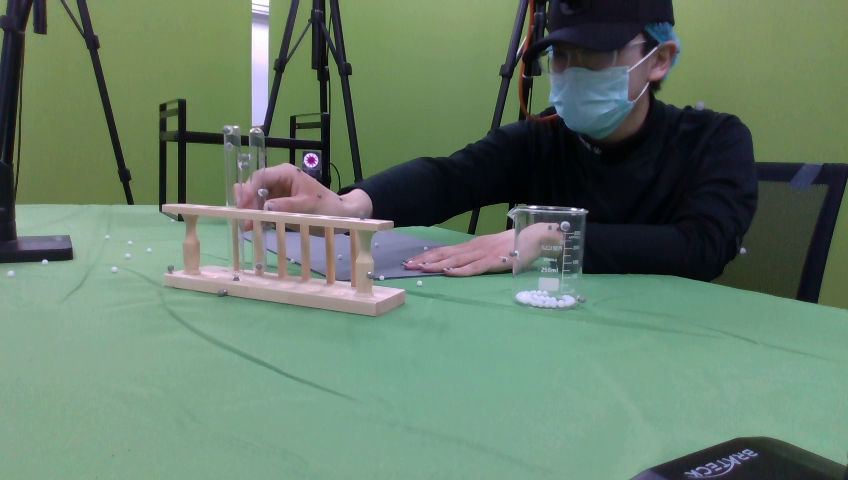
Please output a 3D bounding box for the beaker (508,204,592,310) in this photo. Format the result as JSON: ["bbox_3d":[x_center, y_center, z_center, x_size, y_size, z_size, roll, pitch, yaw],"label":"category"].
[{"bbox_3d":[0.125,0.016,0.613,0.084,0.100,0.074,1,7,-5],"label":"beaker"}]

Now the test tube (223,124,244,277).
[{"bbox_3d":[-0.186,-0.037,0.591,0.017,0.150,0.017,1,11,0],"label":"test tube"}]

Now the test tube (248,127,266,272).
[{"bbox_3d":[-0.172,-0.041,0.626,0.017,0.150,0.017,1,7,0],"label":"test tube"}]

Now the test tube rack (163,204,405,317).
[{"bbox_3d":[-0.141,0.013,0.600,0.241,0.085,0.067,5,8,21],"label":"test tube rack"}]
